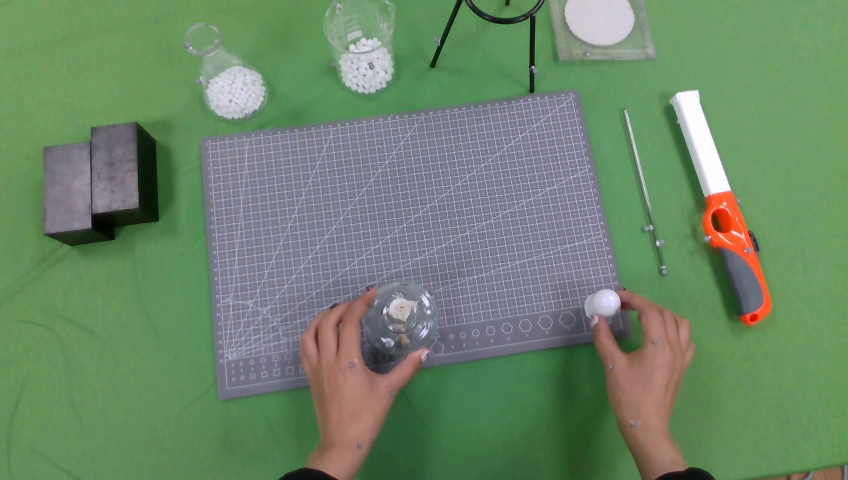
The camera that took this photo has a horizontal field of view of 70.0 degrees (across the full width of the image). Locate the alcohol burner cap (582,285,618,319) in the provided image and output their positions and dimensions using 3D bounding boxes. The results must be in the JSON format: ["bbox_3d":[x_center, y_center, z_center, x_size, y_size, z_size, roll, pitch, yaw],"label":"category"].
[{"bbox_3d":[0.186,0.063,0.634,0.034,0.048,0.033,0,74,1],"label":"alcohol burner cap"}]

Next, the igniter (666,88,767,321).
[{"bbox_3d":[0.332,-0.045,0.689,0.057,0.025,0.275,-10,77,-13],"label":"igniter"}]

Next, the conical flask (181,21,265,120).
[{"bbox_3d":[-0.225,-0.189,0.666,0.075,0.122,0.075,0,76,0],"label":"conical flask"}]

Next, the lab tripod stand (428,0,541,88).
[{"bbox_3d":[0.075,-0.247,0.678,0.148,0.132,0.147,0,79,0],"label":"lab tripod stand"}]

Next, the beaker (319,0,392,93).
[{"bbox_3d":[-0.071,-0.220,0.688,0.084,0.100,0.073,-35,79,-9],"label":"beaker"}]

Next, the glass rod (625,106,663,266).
[{"bbox_3d":[0.256,-0.066,0.706,0.008,0.008,0.198,-5,76,-2],"label":"glass rod"}]

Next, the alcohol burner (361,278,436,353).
[{"bbox_3d":[-0.026,0.073,0.610,0.078,0.119,0.077,1,75,-2],"label":"alcohol burner"}]

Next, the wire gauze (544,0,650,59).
[{"bbox_3d":[0.214,-0.280,0.752,0.125,0.011,0.121,-4,78,-3],"label":"wire gauze"}]
